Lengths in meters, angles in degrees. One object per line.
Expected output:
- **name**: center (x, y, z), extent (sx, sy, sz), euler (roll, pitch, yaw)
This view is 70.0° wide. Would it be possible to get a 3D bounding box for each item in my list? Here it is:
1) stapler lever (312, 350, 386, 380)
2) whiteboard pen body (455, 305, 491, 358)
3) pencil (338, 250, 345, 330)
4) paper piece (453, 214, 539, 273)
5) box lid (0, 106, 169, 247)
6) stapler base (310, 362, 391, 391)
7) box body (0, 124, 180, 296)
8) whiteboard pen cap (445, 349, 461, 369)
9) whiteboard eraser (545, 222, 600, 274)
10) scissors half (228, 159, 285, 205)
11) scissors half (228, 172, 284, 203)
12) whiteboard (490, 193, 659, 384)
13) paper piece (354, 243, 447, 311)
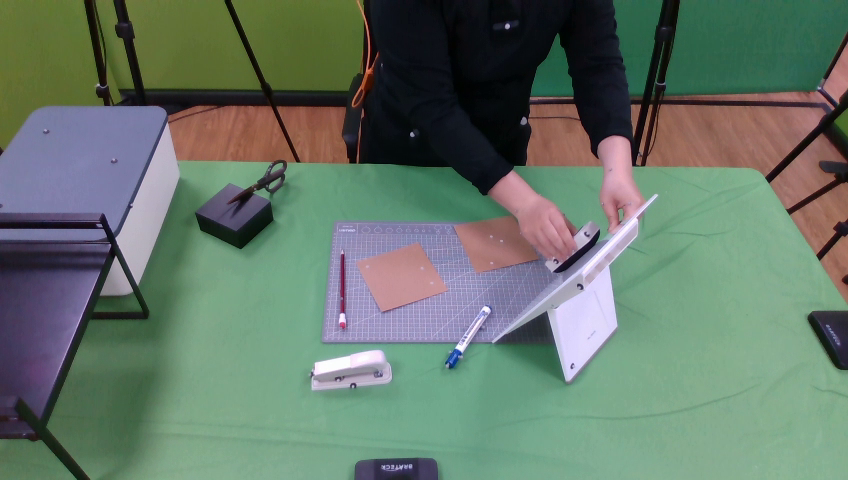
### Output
- **stapler lever**: center (-0.120, 0.199, 0.963), extent (0.118, 0.040, 0.026), euler (-4, 44, -8)
- **whiteboard pen body**: center (0.079, 0.164, 1.047), extent (0.017, 0.017, 0.140), euler (25, 51, 18)
- **pencil**: center (-0.152, 0.085, 1.107), extent (0.012, 0.012, 0.192), euler (-2, 44, -7)
- **paper piece**: center (0.142, 0.003, 1.212), extent (0.135, 0.004, 0.135), euler (-11, 47, -14)
- **box lid**: center (-0.624, -0.125, 1.067), extent (0.263, 0.015, 0.369), euler (0, 46, -3)
- **stapler base**: center (-0.119, 0.215, 0.980), extent (0.131, 0.024, 0.041), euler (-5, 44, -7)
- **box body**: center (-0.628, -0.075, 1.122), extent (0.254, 0.161, 0.361), euler (1, 46, -4)
- **whiteboard pen cap**: center (0.048, 0.197, 1.011), extent (0.018, 0.018, 0.033), euler (23, 49, 17)
- **whiteboard eraser**: center (0.268, 0.017, 1.086), extent (0.042, 0.113, 0.055), euler (47, 48, 9)
- **scissors half**: center (-0.335, -0.116, 1.217), extent (0.013, 0.040, 0.174), euler (26, 46, 12)
- **scissors half**: center (-0.339, -0.101, 1.229), extent (0.013, 0.040, 0.175), euler (22, 28, 16)
- **whiteboard**: center (0.278, 0.101, 0.969), extent (0.217, 0.306, 0.143), euler (-36, 79, -33)
- **paper piece**: center (-0.046, 0.066, 1.137), extent (0.136, 0.009, 0.137), euler (-14, 47, -22)
